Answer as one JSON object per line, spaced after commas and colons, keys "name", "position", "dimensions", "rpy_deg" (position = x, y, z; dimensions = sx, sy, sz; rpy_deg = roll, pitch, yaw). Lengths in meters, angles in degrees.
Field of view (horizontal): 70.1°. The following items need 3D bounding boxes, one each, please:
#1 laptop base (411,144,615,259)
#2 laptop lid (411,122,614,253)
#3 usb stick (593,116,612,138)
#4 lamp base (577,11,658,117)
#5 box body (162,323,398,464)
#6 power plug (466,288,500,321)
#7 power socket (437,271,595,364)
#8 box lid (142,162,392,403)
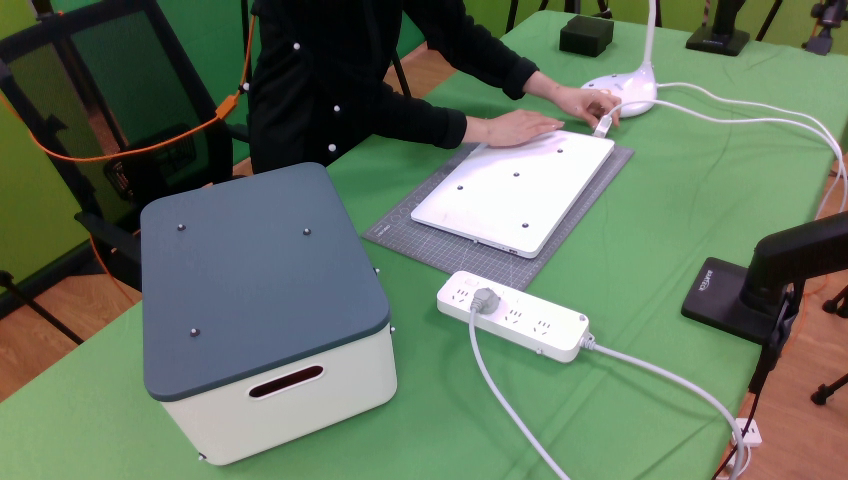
{"name": "laptop base", "position": [0.167, -0.102, 1.075], "dimensions": [0.234, 0.023, 0.355], "rpy_deg": [17, 45, 30]}
{"name": "laptop lid", "position": [0.164, -0.112, 1.068], "dimensions": [0.240, 0.013, 0.357], "rpy_deg": [19, 46, 31]}
{"name": "usb stick", "position": [0.342, -0.210, 1.165], "dimensions": [0.021, 0.027, 0.059], "rpy_deg": [26, 61, 11]}
{"name": "lamp base", "position": [0.407, -0.365, 1.223], "dimensions": [0.180, 0.181, 0.159], "rpy_deg": [-20, 42, -18]}
{"name": "box body", "position": [-0.205, 0.080, 0.802], "dimensions": [0.255, 0.161, 0.361], "rpy_deg": [-18, 41, -13]}
{"name": "power plug", "position": [0.072, 0.093, 0.813], "dimensions": [0.073, 0.053, 0.035], "rpy_deg": [-37, 49, -28]}
{"name": "power socket", "position": [0.118, 0.102, 0.830], "dimensions": [0.225, 0.033, 0.072], "rpy_deg": [20, 48, 28]}
{"name": "box lid", "position": [-0.212, 0.024, 0.752], "dimensions": [0.264, 0.015, 0.368], "rpy_deg": [-17, 41, -13]}
